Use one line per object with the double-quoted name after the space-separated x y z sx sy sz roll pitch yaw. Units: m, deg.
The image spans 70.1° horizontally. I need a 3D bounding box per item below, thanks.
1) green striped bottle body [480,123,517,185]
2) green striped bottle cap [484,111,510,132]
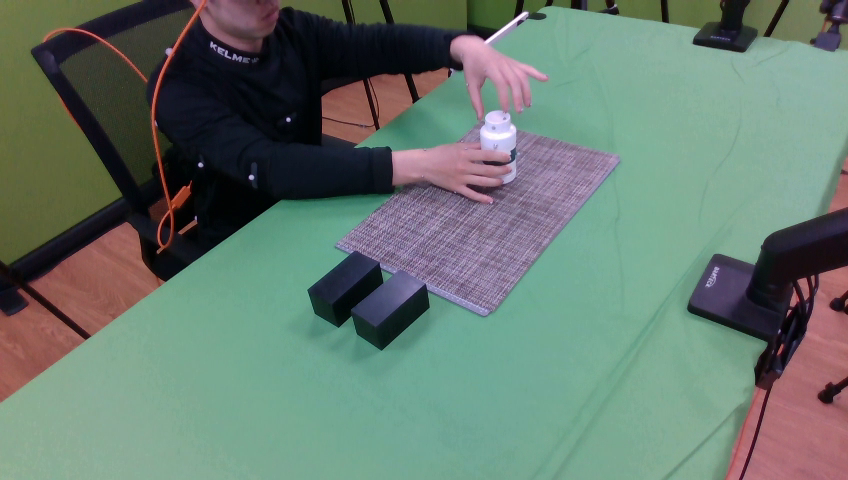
0.130 -0.161 1.057 0.063 0.120 0.063 -4 40 4 "green striped bottle body"
0.124 -0.200 1.023 0.044 0.020 0.044 -4 38 4 "green striped bottle cap"
